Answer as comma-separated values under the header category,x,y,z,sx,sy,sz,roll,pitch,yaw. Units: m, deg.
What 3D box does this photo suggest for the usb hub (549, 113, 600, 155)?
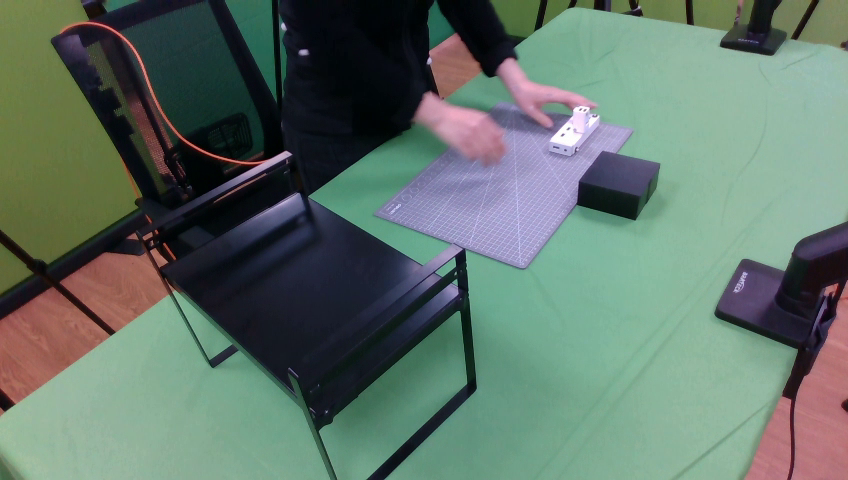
category,x,y,z,sx,sy,sz,roll,pitch,yaw
usb hub,0.291,-0.208,1.166,0.049,0.025,0.125,22,49,29

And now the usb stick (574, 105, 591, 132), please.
category,x,y,z,sx,sy,sz,roll,pitch,yaw
usb stick,0.299,-0.222,1.138,0.027,0.059,0.021,20,56,30
